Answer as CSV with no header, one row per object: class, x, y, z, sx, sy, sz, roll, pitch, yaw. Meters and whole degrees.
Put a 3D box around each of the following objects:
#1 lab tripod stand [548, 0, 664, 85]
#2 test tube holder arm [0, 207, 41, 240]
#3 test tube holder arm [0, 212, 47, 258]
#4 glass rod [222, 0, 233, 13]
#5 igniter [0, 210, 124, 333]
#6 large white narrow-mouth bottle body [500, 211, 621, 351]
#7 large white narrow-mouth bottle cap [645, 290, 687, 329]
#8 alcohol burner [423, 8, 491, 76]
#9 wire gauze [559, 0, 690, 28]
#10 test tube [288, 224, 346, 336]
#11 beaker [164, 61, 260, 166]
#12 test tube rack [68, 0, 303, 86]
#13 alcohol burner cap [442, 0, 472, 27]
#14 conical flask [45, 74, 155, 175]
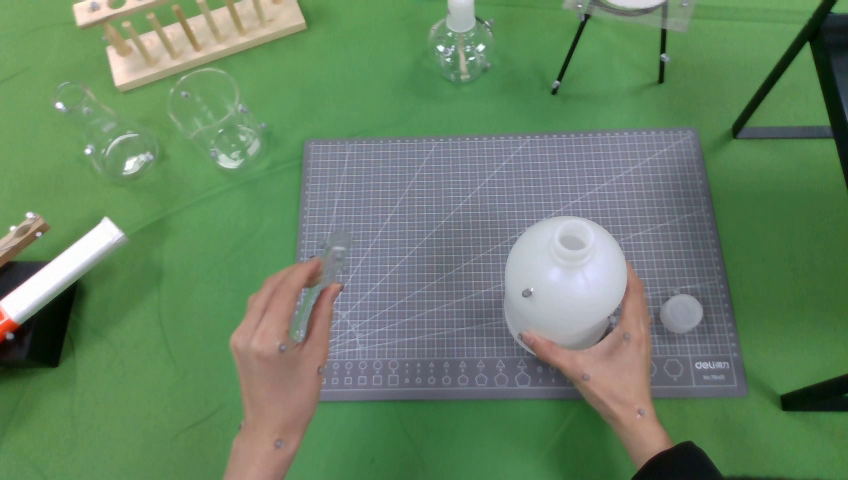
lab tripod stand,0.207,-0.245,0.668,0.148,0.132,0.147,0,68,1
test tube holder arm,-0.459,0.032,0.601,0.013,0.015,0.178,42,75,16
test tube holder arm,-0.423,0.005,0.611,0.088,0.015,0.010,-43,73,-14
glass rod,-0.258,-0.333,0.676,0.008,0.201,0.008,-4,63,8
igniter,-0.413,0.072,0.581,0.057,0.025,0.276,42,73,14
large white narrow-mouth bottle body,0.118,0.031,0.530,0.101,0.196,0.101,-3,68,7
large white narrow-mouth bottle cap,0.242,0.069,0.605,0.038,0.024,0.037,-1,70,3
alcohol burner,0.038,-0.243,0.686,0.078,0.120,0.077,0,67,1
wire gauze,0.211,-0.272,0.605,0.121,0.011,0.124,19,72,8
test tube,-0.086,0.037,0.472,0.017,0.151,0.017,13,51,-16
beaker,-0.227,-0.131,0.662,0.074,0.101,0.083,13,70,8
test tube rack,-0.278,-0.275,0.726,0.242,0.086,0.066,-21,69,-6
alcohol burner cap,0.035,-0.258,0.652,0.034,0.048,0.033,-1,68,2
conical flask,-0.353,-0.128,0.654,0.075,0.123,0.075,-1,68,3
